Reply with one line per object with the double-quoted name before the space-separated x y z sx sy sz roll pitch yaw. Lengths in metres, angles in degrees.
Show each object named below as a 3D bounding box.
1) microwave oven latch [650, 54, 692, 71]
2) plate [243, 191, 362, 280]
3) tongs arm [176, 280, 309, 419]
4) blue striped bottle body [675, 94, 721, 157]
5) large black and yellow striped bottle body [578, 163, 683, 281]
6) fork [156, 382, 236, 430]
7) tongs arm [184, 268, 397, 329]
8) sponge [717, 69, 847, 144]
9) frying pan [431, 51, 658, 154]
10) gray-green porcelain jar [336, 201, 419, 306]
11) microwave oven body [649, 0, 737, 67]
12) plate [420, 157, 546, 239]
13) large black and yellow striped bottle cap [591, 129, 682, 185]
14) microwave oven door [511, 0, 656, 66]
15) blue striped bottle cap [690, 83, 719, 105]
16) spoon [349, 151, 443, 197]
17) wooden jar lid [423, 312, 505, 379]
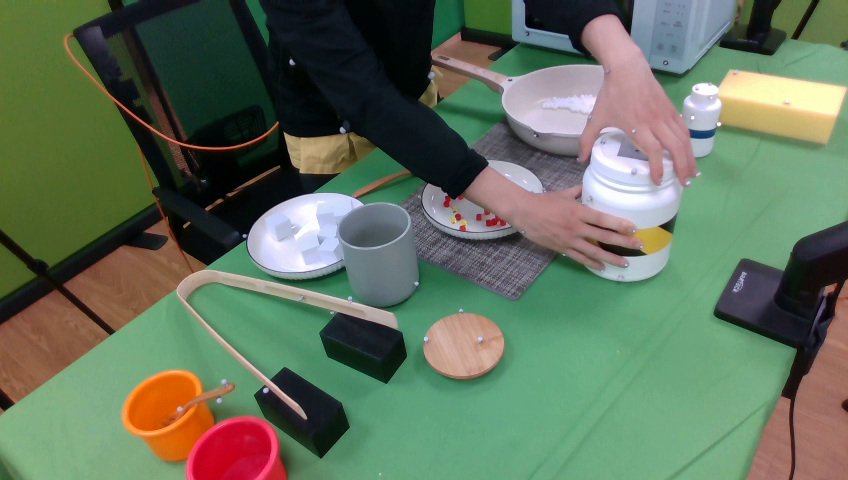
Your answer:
"microwave oven latch" 0.530 -0.386 1.301 0.078 0.029 0.030 24 50 32
"plate" -0.188 -0.005 0.992 0.207 0.039 0.206 -3 40 3
"tongs arm" -0.254 0.133 0.801 0.028 0.028 0.384 -41 41 -23
"blue striped bottle body" 0.486 -0.213 1.072 0.063 0.121 0.063 -4 41 4
"large black and yellow striped bottle body" 0.291 -0.047 0.859 0.131 0.185 0.130 -4 41 4
"fork" -0.262 0.189 0.690 0.018 0.206 0.028 49 43 -7
"tongs arm" -0.202 0.085 0.847 0.382 0.027 0.051 11 45 35
"sponge" 0.663 -0.256 1.142 0.205 0.061 0.118 19 47 28
"frying pan" 0.216 -0.302 1.223 0.484 0.103 0.308 29 50 24
"gray-green porcelain jar" -0.064 0.024 0.872 0.106 0.127 0.105 -4 41 4
"microwave oven body" 0.475 -0.602 1.411 0.438 0.261 0.327 23 50 32
"plate" 0.100 -0.067 1.017 0.209 0.038 0.208 -4 41 4
"large black and yellow striped bottle cap" 0.281 -0.112 0.802 0.115 0.019 0.114 -1 40 2
"microwave oven door" 0.351 -0.539 1.348 0.353 0.245 0.039 24 50 31
"blue striped bottle cap" 0.482 -0.251 1.038 0.044 0.021 0.044 -5 40 5
"spoon" -0.051 -0.122 1.120 0.194 0.022 0.041 -22 57 -17
"wooden jar lid" 0.053 0.142 0.800 0.108 0.021 0.108 -5 39 4
